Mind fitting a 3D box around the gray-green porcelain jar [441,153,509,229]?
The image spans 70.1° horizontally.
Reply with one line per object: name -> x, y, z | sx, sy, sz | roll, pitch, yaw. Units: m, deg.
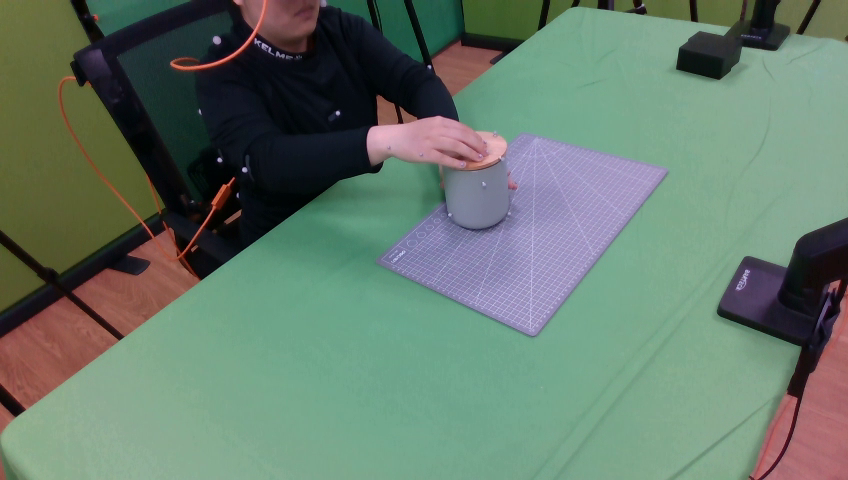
gray-green porcelain jar -> 0.086, -0.090, 0.988 | 0.106, 0.127, 0.105 | -5, 40, 5

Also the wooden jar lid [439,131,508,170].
wooden jar lid -> 0.077, -0.136, 0.948 | 0.108, 0.021, 0.108 | -5, 38, 5
